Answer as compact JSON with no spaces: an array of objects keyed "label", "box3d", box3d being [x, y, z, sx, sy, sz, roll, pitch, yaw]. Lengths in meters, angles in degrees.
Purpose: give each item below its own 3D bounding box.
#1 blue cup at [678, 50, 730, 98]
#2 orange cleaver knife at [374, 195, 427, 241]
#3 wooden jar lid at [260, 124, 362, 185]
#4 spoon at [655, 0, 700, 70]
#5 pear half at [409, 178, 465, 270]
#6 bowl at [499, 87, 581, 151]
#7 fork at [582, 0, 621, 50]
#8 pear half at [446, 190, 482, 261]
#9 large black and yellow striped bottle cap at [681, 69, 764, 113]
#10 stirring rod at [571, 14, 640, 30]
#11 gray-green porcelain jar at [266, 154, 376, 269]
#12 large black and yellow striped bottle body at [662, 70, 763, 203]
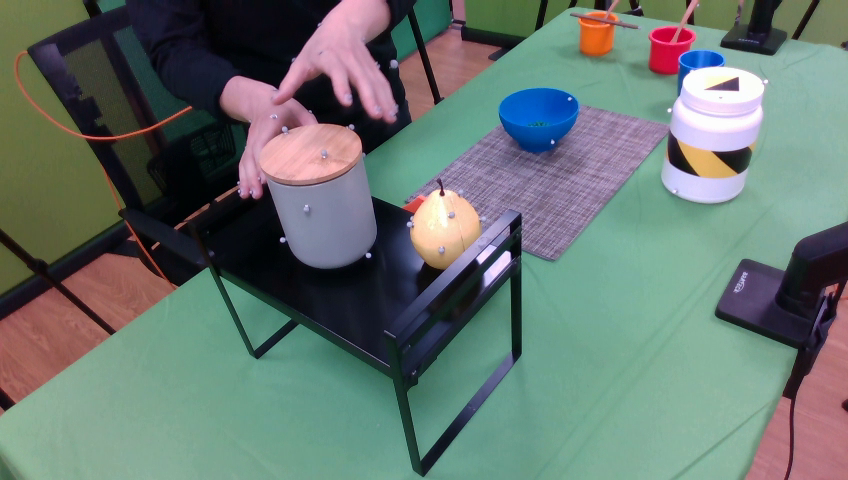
[{"label":"blue cup","box3d":[0.542,-0.310,1.194,0.092,0.101,0.092,-6,41,6]},{"label":"orange cleaver knife","box3d":[-0.037,-0.029,0.973,0.210,0.077,0.012,-8,33,50]},{"label":"wooden jar lid","box3d":[-0.119,-0.088,0.644,0.108,0.021,0.108,-3,40,3]},{"label":"spoon","box3d":[0.568,-0.463,1.337,0.041,0.022,0.193,30,97,37]},{"label":"pear half","box3d":[0.011,-0.019,0.654,0.056,0.110,0.076,-16,37,-9]},{"label":"bowl","box3d":[0.220,-0.223,1.156,0.151,0.077,0.150,-4,40,4]},{"label":"fork","box3d":[0.446,-0.539,1.438,0.207,0.019,0.028,-57,35,12]},{"label":"pear half","box3d":[0.046,-0.020,0.665,0.031,0.088,0.070,-17,38,-9]},{"label":"large black and yellow striped bottle cap","box3d":[0.453,-0.229,0.921,0.115,0.019,0.114,-4,39,4]},{"label":"stirring rod","box3d":[0.418,-0.508,1.404,0.174,0.006,0.014,28,55,35]},{"label":"gray-green porcelain jar","box3d":[-0.112,-0.039,0.686,0.106,0.127,0.105,-4,40,4]},{"label":"large black and yellow striped bottle body","box3d":[0.464,-0.166,0.976,0.131,0.185,0.130,-5,41,5]}]
